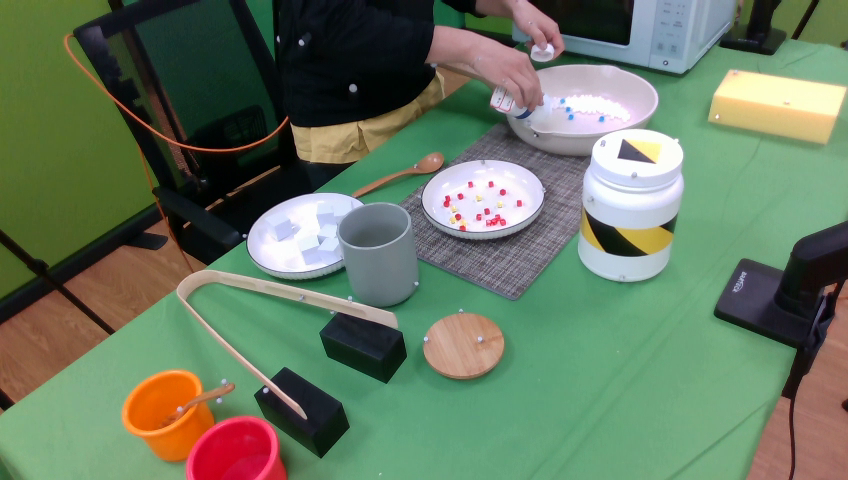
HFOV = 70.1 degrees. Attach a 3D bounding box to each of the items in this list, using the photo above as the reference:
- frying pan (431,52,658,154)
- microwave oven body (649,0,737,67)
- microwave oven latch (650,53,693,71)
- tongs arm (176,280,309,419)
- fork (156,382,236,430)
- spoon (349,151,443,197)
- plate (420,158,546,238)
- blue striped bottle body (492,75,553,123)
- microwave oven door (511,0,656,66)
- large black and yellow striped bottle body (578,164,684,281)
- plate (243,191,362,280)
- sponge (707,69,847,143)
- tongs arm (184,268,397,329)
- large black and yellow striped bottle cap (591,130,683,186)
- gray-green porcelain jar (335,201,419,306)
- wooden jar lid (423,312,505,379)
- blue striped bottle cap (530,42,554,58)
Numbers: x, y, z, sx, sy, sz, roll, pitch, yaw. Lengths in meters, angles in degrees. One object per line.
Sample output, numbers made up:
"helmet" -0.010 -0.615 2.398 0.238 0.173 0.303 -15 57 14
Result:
"frying pan" 0.216 -0.302 1.223 0.484 0.103 0.308 29 50 24
"microwave oven body" 0.475 -0.602 1.411 0.438 0.261 0.327 23 50 32
"microwave oven latch" 0.531 -0.386 1.301 0.078 0.029 0.030 26 51 33
"tongs arm" -0.254 0.133 0.801 0.028 0.028 0.384 -41 41 -23
"fork" -0.262 0.189 0.690 0.018 0.206 0.028 48 43 -7
"spoon" -0.051 -0.123 1.120 0.194 0.022 0.041 -22 61 -18
"plate" 0.099 -0.067 1.017 0.209 0.038 0.208 -4 40 4
"blue striped bottle body" 0.183 -0.250 1.087 0.122 0.063 0.062 9 24 -45
"microwave oven door" 0.351 -0.540 1.349 0.353 0.245 0.039 24 50 31
"large black and yellow striped bottle body" 0.292 -0.046 0.859 0.131 0.185 0.130 -4 41 4
"plate" -0.187 -0.005 0.992 0.207 0.039 0.206 -3 40 3
"sponge" 0.663 -0.256 1.141 0.205 0.061 0.118 18 47 28
"tongs arm" -0.202 0.084 0.848 0.382 0.027 0.051 11 45 35
"large black and yellow striped bottle cap" 0.282 -0.111 0.803 0.115 0.019 0.114 -3 41 3
"gray-green porcelain jar" -0.064 0.024 0.872 0.106 0.127 0.105 -4 41 4
"wooden jar lid" 0.053 0.142 0.800 0.108 0.021 0.108 -5 39 4
"blue striped bottle cap" 0.234 -0.378 1.201 0.044 0.020 0.044 12 12 -2
